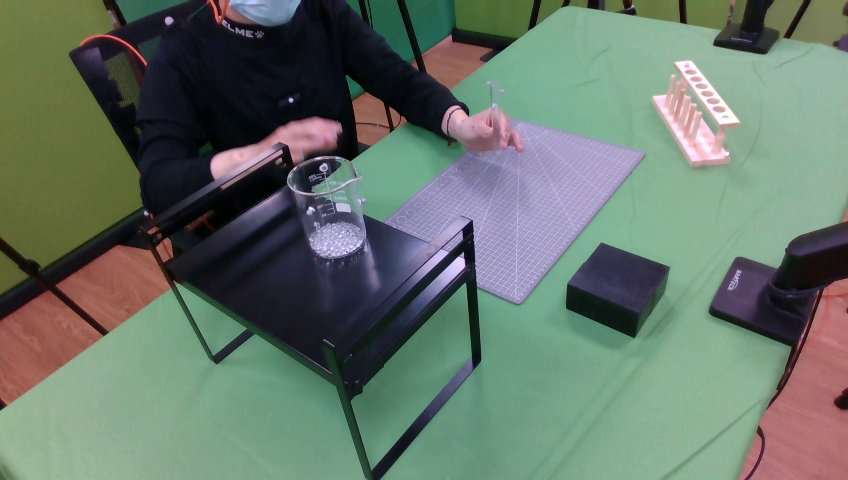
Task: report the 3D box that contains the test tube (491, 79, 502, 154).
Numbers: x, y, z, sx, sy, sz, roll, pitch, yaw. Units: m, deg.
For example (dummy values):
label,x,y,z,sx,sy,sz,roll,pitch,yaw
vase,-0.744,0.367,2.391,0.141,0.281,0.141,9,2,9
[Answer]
label,x,y,z,sx,sy,sz,roll,pitch,yaw
test tube,0.120,-0.200,0.999,0.017,0.151,0.017,-4,50,5

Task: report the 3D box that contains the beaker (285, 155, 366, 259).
label,x,y,z,sx,sy,sz,roll,pitch,yaw
beaker,-0.105,-0.035,0.691,0.084,0.101,0.073,-4,41,3

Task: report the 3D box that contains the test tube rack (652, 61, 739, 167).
label,x,y,z,sx,sy,sz,roll,pitch,yaw
test tube rack,0.499,-0.242,1.130,0.067,0.085,0.241,-5,41,4
